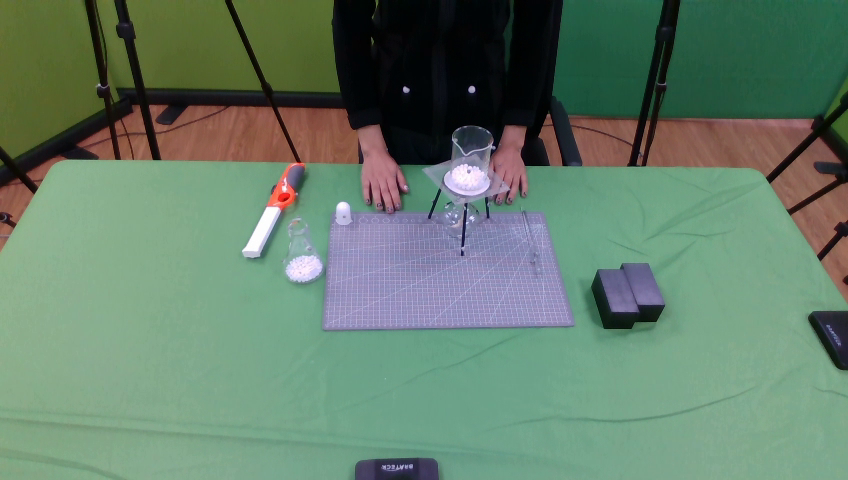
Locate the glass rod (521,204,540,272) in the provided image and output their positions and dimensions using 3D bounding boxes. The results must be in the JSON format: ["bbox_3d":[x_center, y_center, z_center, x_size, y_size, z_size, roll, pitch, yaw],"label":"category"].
[{"bbox_3d":[0.214,-0.008,1.230,0.008,0.008,0.198,0,43,-3],"label":"glass rod"}]

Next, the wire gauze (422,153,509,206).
[{"bbox_3d":[0.078,-0.114,1.144,0.125,0.011,0.120,-21,49,-20],"label":"wire gauze"}]

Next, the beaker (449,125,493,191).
[{"bbox_3d":[0.083,-0.146,1.108,0.074,0.101,0.083,15,47,11],"label":"beaker"}]

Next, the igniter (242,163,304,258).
[{"bbox_3d":[-0.305,-0.069,1.239,0.057,0.025,0.275,2,45,12],"label":"igniter"}]

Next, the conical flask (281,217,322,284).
[{"bbox_3d":[-0.225,0.016,1.097,0.075,0.122,0.075,3,46,-2],"label":"conical flask"}]

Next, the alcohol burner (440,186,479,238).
[{"bbox_3d":[0.072,-0.061,1.198,0.078,0.119,0.077,3,47,-3],"label":"alcohol burner"}]

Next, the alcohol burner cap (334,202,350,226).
[{"bbox_3d":[-0.167,-0.055,1.223,0.034,0.048,0.033,2,46,-2],"label":"alcohol burner cap"}]

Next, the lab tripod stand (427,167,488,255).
[{"bbox_3d":[0.076,-0.068,1.191,0.148,0.132,0.147,2,44,-2],"label":"lab tripod stand"}]
